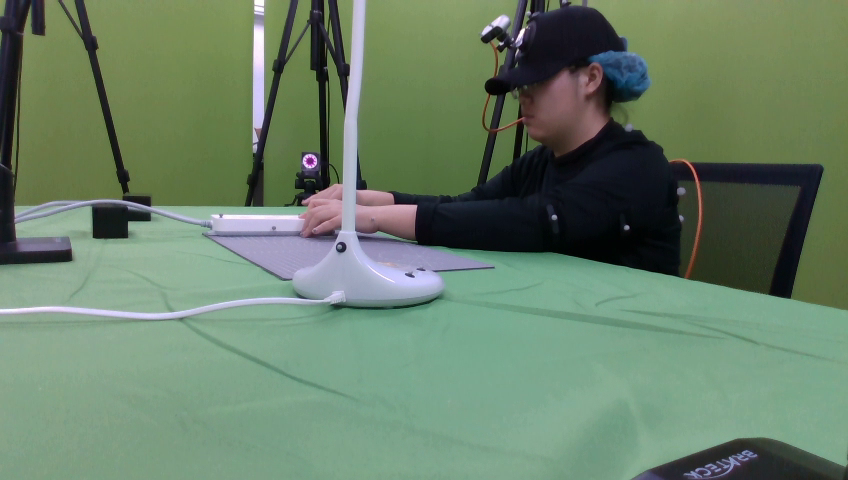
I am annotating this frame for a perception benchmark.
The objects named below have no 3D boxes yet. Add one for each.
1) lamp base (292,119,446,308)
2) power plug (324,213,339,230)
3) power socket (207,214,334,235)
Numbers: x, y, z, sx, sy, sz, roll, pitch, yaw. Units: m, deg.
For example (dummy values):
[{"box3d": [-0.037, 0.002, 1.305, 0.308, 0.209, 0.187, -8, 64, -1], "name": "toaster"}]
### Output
[{"box3d": [-0.056, -0.030, 0.616, 0.160, 0.180, 0.179, 4, 10, 8], "name": "lamp base"}, {"box3d": [-0.200, -0.026, 1.194, 0.072, 0.035, 0.052, -36, 13, -7], "name": "power plug"}, {"box3d": [-0.271, -0.028, 1.085, 0.228, 0.032, 0.072, 0, 7, -28], "name": "power socket"}]
